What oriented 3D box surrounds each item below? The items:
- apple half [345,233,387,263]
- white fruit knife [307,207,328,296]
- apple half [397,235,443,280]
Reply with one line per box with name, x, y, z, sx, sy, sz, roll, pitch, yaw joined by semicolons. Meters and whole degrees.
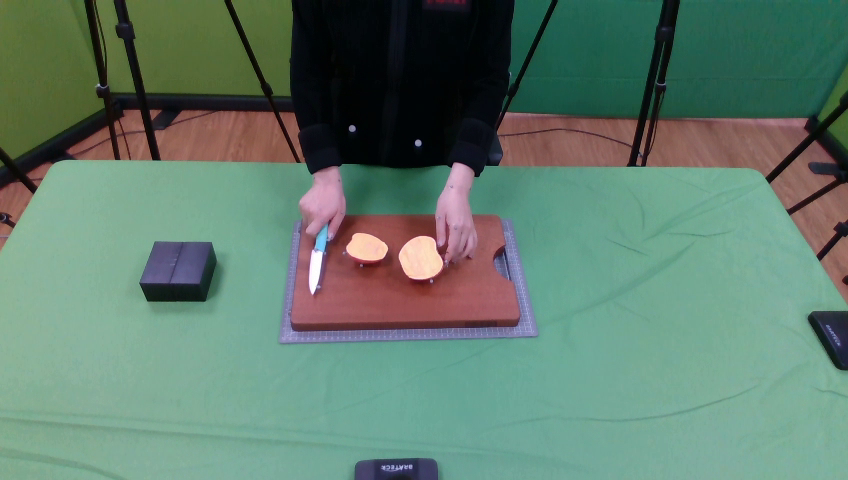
apple half;-0.109;0.024;1.120;0.081;0.033;0.081;13;36;-10
white fruit knife;-0.197;0.017;1.119;0.027;0.016;0.206;-9;51;11
apple half;-0.006;0.036;1.097;0.074;0.053;0.080;-26;80;-2
